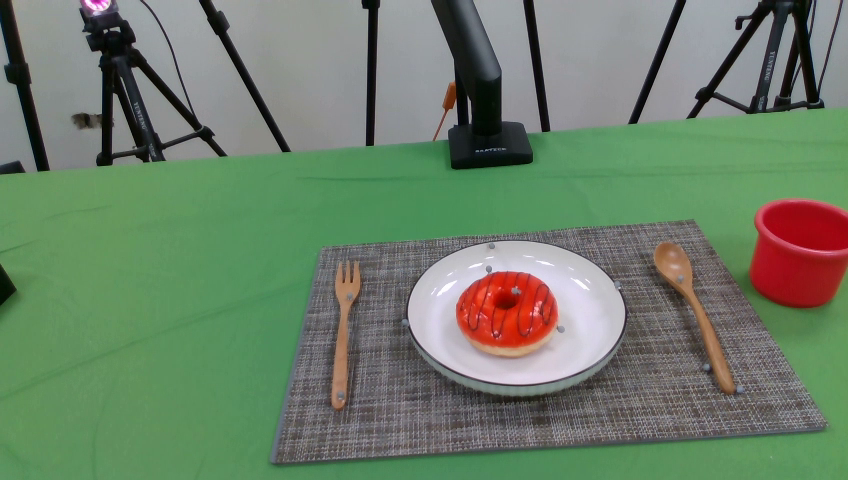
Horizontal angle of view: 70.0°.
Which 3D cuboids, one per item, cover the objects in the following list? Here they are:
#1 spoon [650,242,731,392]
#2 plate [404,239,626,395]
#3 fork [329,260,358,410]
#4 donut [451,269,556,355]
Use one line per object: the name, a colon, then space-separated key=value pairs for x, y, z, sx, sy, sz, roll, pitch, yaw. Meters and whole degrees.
spoon: x=0.259 y=0.066 z=0.587 sx=0.042 sy=0.022 sz=0.192 roll=12 pitch=35 yaw=-6
plate: x=0.086 y=0.073 z=0.589 sx=0.209 sy=0.038 sz=0.207 roll=-3 pitch=35 yaw=3
fork: x=-0.083 y=0.086 z=0.610 sx=0.028 sy=0.019 sz=0.205 roll=0 pitch=34 yaw=-4
donut: x=0.076 y=0.068 z=0.578 sx=0.099 sy=0.049 sz=0.098 roll=-5 pitch=38 yaw=4
